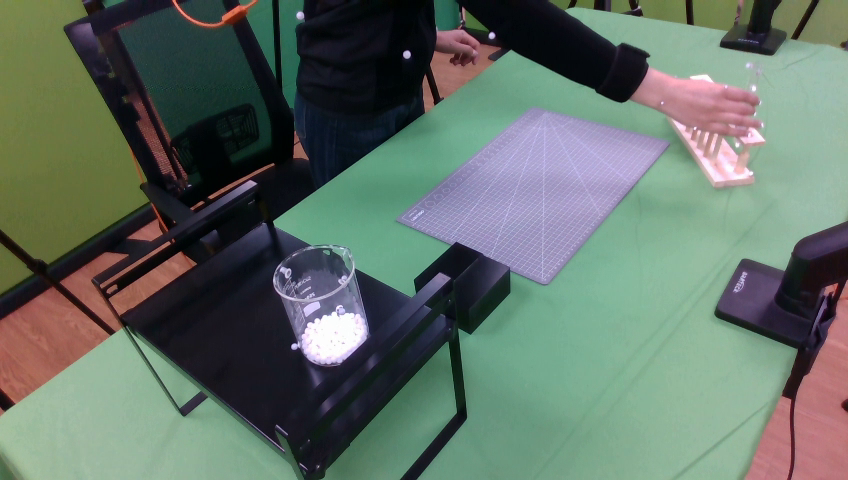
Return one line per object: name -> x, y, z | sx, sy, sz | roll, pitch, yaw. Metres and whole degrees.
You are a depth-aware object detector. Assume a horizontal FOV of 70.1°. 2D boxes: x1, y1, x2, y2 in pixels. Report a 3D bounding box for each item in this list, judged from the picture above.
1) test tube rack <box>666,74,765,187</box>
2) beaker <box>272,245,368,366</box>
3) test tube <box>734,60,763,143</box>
test tube rack -> 0.512, -0.202, 1.082 | 0.067, 0.085, 0.241 | -6, 41, 2
beaker -> -0.093, 0.064, 0.578 | 0.073, 0.101, 0.084 | 21, 48, 29
test tube -> 0.517, -0.217, 0.965 | 0.017, 0.151, 0.017 | -6, 45, 7
